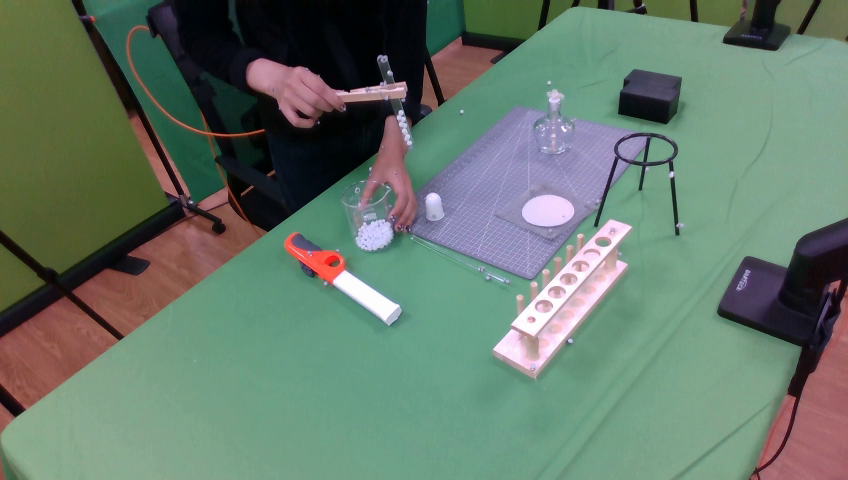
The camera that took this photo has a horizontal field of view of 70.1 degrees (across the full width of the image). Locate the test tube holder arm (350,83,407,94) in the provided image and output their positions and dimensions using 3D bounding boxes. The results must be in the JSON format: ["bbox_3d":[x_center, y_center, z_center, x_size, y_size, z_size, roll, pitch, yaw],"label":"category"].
[{"bbox_3d":[-0.069,-0.223,0.911,0.087,0.015,0.010,-7,39,9],"label":"test tube holder arm"}]

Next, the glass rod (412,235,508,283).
[{"bbox_3d":[0.051,0.028,0.951,0.198,0.008,0.008,25,51,37],"label":"glass rod"}]

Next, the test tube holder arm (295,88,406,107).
[{"bbox_3d":[-0.113,-0.216,0.916,0.178,0.015,0.013,-2,39,15],"label":"test tube holder arm"}]

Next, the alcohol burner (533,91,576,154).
[{"bbox_3d":[0.243,-0.222,1.124,0.078,0.119,0.077,-4,39,4],"label":"alcohol burner"}]

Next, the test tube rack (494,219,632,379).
[{"bbox_3d":[0.191,0.068,0.818,0.066,0.085,0.243,25,51,35],"label":"test tube rack"}]

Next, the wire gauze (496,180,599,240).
[{"bbox_3d":[0.206,-0.050,1.012,0.125,0.011,0.120,-34,45,-26],"label":"wire gauze"}]

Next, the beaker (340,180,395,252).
[{"bbox_3d":[-0.086,-0.037,0.985,0.084,0.101,0.073,-18,41,-11],"label":"beaker"}]

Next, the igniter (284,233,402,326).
[{"bbox_3d":[-0.136,0.054,0.942,0.274,0.025,0.057,30,63,37],"label":"igniter"}]

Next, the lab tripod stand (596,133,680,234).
[{"bbox_3d":[0.338,-0.091,0.940,0.148,0.132,0.147,-7,39,6],"label":"lab tripod stand"}]

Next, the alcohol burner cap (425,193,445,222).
[{"bbox_3d":[0.017,-0.058,1.029,0.034,0.048,0.033,-6,39,5],"label":"alcohol burner cap"}]

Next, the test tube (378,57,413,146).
[{"bbox_3d":[-0.042,-0.206,0.917,0.017,0.151,0.017,-11,41,10],"label":"test tube"}]
